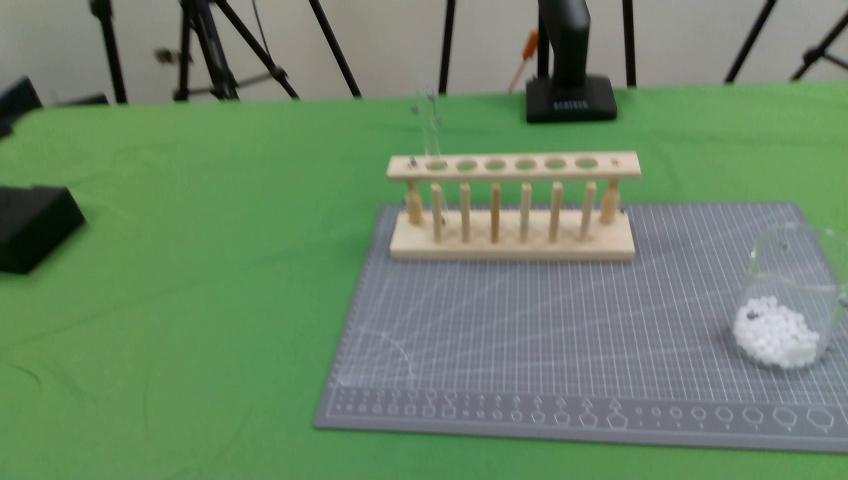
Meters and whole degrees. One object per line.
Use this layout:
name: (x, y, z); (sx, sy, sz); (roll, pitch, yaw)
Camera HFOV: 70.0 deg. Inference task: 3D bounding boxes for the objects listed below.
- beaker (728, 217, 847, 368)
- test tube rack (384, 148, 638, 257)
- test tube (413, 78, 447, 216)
beaker: (0.281, 0.045, 0.471); (0.084, 0.101, 0.073); (-12, 40, -5)
test tube rack: (0.084, -0.037, 0.606); (0.242, 0.086, 0.066); (0, 41, 8)
test tube: (0.007, -0.087, 0.599); (0.017, 0.151, 0.017); (-6, 38, 5)
